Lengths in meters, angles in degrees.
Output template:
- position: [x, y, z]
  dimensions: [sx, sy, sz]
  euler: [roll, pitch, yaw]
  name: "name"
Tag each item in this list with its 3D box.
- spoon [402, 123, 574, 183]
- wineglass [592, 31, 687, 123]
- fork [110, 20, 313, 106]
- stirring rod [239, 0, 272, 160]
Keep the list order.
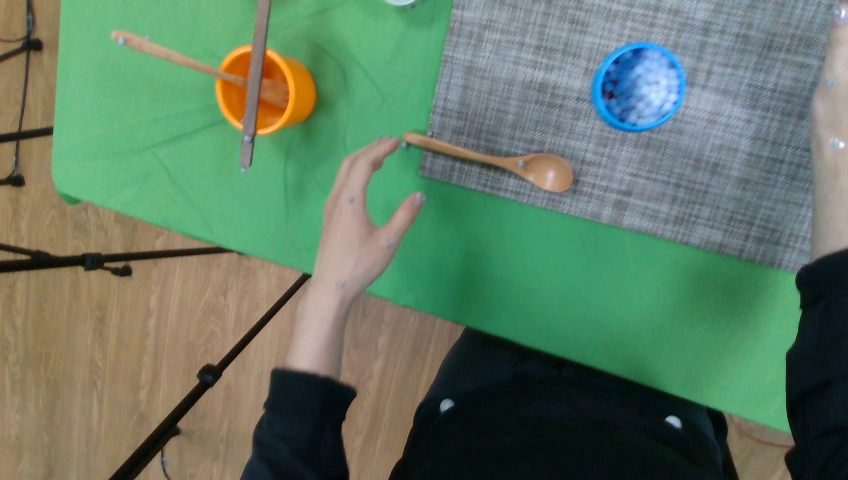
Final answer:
- position: [0.066, -0.100, 0.650]
  dimensions: [0.193, 0.021, 0.042]
  euler: [15, 127, 10]
  name: "spoon"
- position: [0.183, -0.141, 0.530]
  dimensions: [0.073, 0.172, 0.074]
  euler: [3, 104, 14]
  name: "wineglass"
- position: [-0.214, -0.184, 0.633]
  dimensions: [0.209, 0.018, 0.028]
  euler: [13, 121, -35]
  name: "fork"
- position: [-0.175, -0.169, 0.625]
  dimensions: [0.014, 0.006, 0.177]
  euler: [16, 107, 10]
  name: "stirring rod"
